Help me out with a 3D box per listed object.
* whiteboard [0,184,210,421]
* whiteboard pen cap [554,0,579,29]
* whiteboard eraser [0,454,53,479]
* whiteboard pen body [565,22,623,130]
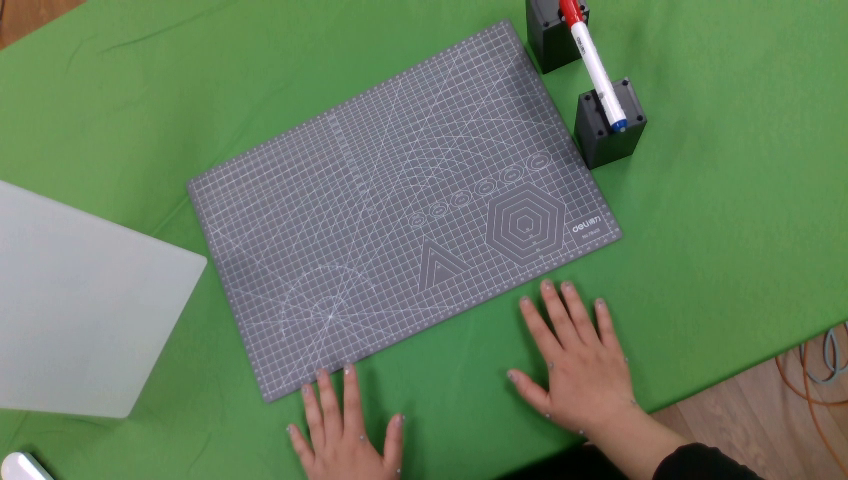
[{"bbox_3d":[-0.434,0.054,0.653,0.142,0.308,0.217,23,85,34],"label":"whiteboard"},{"bbox_3d":[0.143,-0.227,0.606,0.017,0.017,0.032,-19,78,7],"label":"whiteboard pen cap"},{"bbox_3d":[-0.472,0.300,0.730,0.101,0.019,0.041,37,87,14],"label":"whiteboard eraser"},{"bbox_3d":[0.162,-0.171,0.594,0.017,0.017,0.140,-21,76,7],"label":"whiteboard pen body"}]
